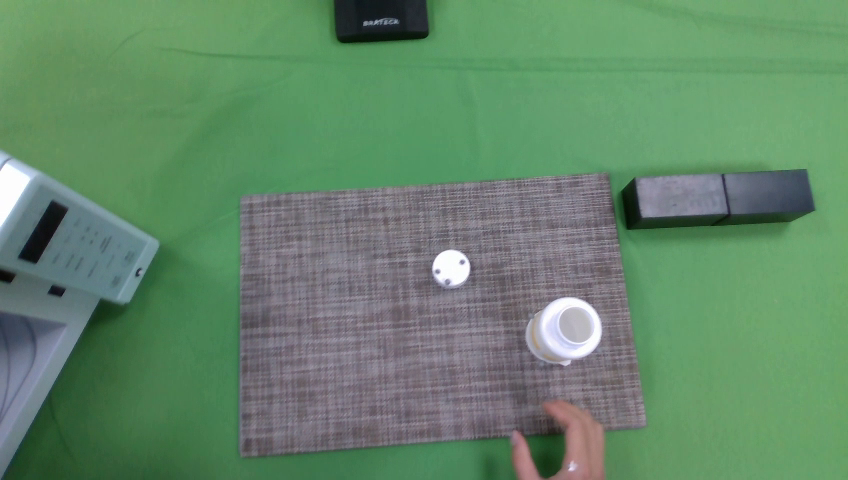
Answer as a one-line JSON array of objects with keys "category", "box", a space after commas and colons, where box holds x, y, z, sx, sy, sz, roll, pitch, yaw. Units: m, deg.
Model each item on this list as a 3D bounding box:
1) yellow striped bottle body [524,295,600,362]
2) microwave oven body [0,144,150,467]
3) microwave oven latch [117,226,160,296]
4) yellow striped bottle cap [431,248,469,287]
[{"category": "yellow striped bottle body", "box": [0.146, 0.095, 0.640, 0.063, 0.121, 0.062, 0, 76, 0]}, {"category": "microwave oven body", "box": [-0.534, 0.098, 0.559, 0.325, 0.261, 0.440, 23, 78, 4]}, {"category": "microwave oven latch", "box": [-0.328, 0.021, 0.679, 0.030, 0.029, 0.079, 25, 78, 4]}, {"category": "yellow striped bottle cap", "box": [0.031, 0.032, 0.708, 0.044, 0.019, 0.044, 0, 77, 1]}]
